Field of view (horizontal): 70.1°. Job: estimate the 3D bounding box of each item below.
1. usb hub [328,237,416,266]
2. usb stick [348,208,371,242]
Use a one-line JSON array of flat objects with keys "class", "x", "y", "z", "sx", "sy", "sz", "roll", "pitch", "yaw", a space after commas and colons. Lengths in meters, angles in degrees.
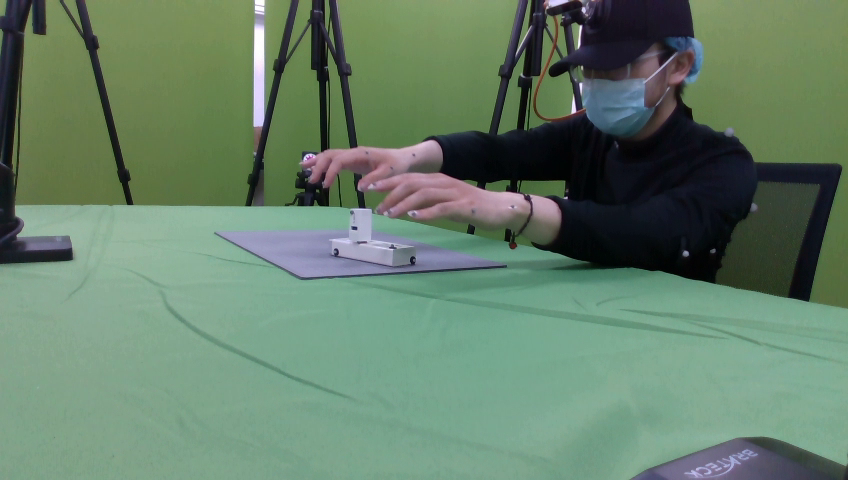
[{"class": "usb hub", "x": -0.074, "y": 0.014, "z": 0.836, "sx": 0.124, "sy": 0.025, "sz": 0.050, "roll": 8, "pitch": 9, "yaw": 39}, {"class": "usb stick", "x": -0.087, "y": -0.014, "z": 0.826, "sx": 0.021, "sy": 0.059, "sz": 0.027, "roll": 7, "pitch": 11, "yaw": 38}]
